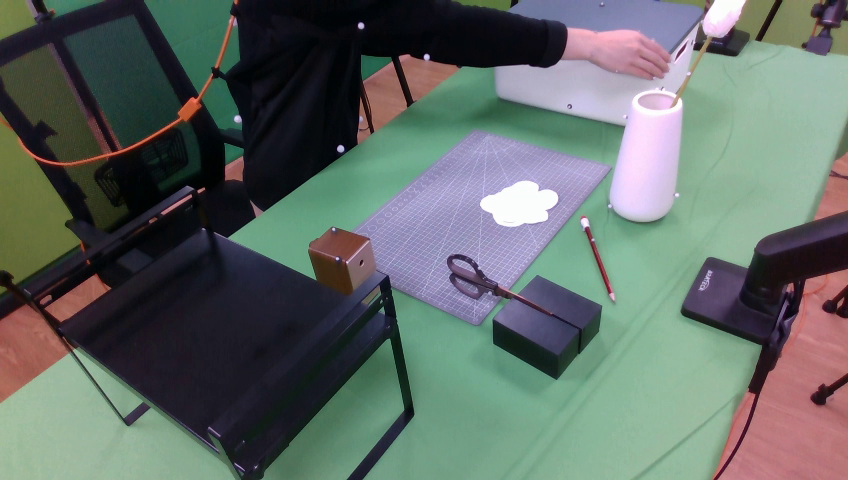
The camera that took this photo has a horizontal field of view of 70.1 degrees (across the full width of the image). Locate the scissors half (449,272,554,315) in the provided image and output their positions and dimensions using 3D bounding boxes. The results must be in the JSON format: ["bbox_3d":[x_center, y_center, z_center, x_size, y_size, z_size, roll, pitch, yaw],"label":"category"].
[{"bbox_3d":[0.104,0.076,0.834,0.173,0.040,0.013,15,48,42],"label":"scissors half"}]

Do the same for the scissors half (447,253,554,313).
[{"bbox_3d":[0.101,0.060,0.821,0.174,0.040,0.013,28,50,29],"label":"scissors half"}]

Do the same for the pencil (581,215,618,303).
[{"bbox_3d":[0.266,0.025,0.916,0.012,0.012,0.193,-6,41,1],"label":"pencil"}]

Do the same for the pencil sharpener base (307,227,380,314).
[{"bbox_3d":[-0.116,0.043,0.875,0.076,0.107,0.061,18,47,28],"label":"pencil sharpener base"}]

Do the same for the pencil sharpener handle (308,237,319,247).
[{"bbox_3d":[-0.158,0.017,0.892,0.030,0.068,0.036,18,61,28],"label":"pencil sharpener handle"}]

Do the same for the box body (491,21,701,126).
[{"bbox_3d":[0.352,-0.384,1.267,0.361,0.161,0.255,21,48,29],"label":"box body"}]

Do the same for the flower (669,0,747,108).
[{"bbox_3d":[0.355,-0.187,0.880,0.038,0.362,0.044,30,48,14],"label":"flower"}]

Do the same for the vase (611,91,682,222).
[{"bbox_3d":[0.348,-0.125,0.935,0.098,0.201,0.097,-3,40,3],"label":"vase"}]

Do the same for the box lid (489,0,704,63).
[{"bbox_3d":[0.345,-0.440,1.218,0.369,0.015,0.264,21,48,29],"label":"box lid"}]
